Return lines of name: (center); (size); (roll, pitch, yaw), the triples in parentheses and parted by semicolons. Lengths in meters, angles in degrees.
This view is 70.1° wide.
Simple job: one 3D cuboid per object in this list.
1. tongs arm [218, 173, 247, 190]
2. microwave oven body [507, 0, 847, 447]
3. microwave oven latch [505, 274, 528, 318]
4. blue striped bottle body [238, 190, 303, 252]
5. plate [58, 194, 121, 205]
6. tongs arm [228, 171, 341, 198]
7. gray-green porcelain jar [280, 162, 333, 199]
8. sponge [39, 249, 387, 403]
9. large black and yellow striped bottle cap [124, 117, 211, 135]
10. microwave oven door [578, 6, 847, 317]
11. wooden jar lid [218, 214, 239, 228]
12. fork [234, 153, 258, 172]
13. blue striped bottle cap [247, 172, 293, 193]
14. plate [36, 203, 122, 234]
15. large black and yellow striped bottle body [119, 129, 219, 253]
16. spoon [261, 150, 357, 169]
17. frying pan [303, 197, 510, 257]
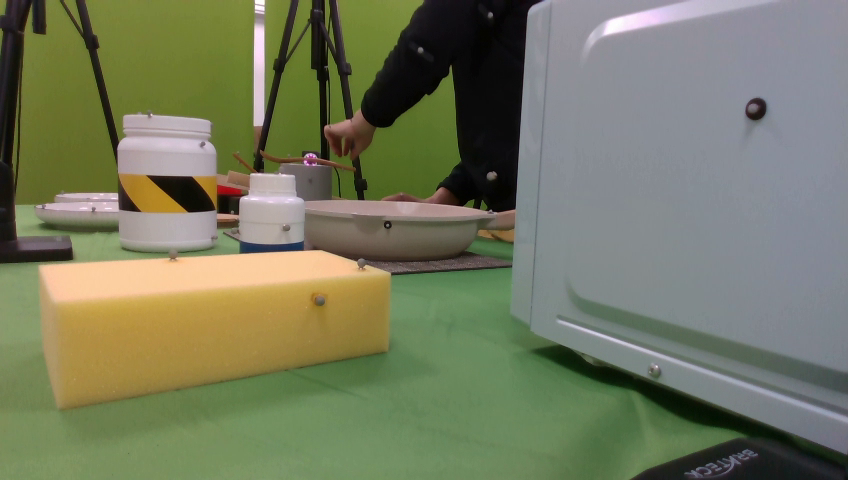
tongs arm: (-0.315, -0.110, 1.448); (0.389, 0.027, 0.028); (11, -7, -26)
microwave oven body: (0.331, -0.042, 0.425); (0.444, 0.260, 0.324); (-2, 8, -31)
microwave oven latch: (0.100, 0.041, 0.472); (0.079, 0.029, 0.030); (-2, 8, -30)
blue striped bottle body: (-0.153, -0.007, 0.606); (0.063, 0.120, 0.063); (2, 7, 0)
plate: (-0.671, -0.074, 1.310); (0.209, 0.038, 0.209); (2, 8, 0)
tongs arm: (-0.267, -0.103, 1.378); (0.387, 0.026, 0.050); (11, -3, -40)
gray-green porcelain jar: (-0.238, -0.092, 1.221); (0.106, 0.126, 0.106); (2, 7, 0)
sponge: (-0.142, 0.047, 0.420); (0.208, 0.061, 0.117); (-3, 8, -36)
large black and yellow striped bottle cap: (-0.366, -0.163, 0.866); (0.115, 0.019, 0.115); (3, 7, 0)
microwave oven door: (0.294, -0.067, 0.570); (0.358, 0.243, 0.039); (-3, 9, -31)
wooden jar lid: (-0.404, -0.037, 1.169); (0.108, 0.020, 0.108); (3, 7, 0)
fork: (-0.396, -0.143, 1.486); (0.028, 0.018, 0.208); (20, -26, 45)
blue striped bottle cap: (-0.152, -0.057, 0.598); (0.044, 0.020, 0.044); (4, 7, 0)
plate: (-0.571, -0.040, 1.083); (0.208, 0.039, 0.207); (2, 8, 0)
large black and yellow striped bottle body: (-0.367, -0.080, 0.876); (0.131, 0.184, 0.130); (2, 7, 0)
spoon: (-0.231, -0.162, 1.221); (0.194, 0.021, 0.041); (3, 2, -16)
frying pan: (0.051, -0.035, 0.915); (0.487, 0.102, 0.307); (-5, 7, 11)
